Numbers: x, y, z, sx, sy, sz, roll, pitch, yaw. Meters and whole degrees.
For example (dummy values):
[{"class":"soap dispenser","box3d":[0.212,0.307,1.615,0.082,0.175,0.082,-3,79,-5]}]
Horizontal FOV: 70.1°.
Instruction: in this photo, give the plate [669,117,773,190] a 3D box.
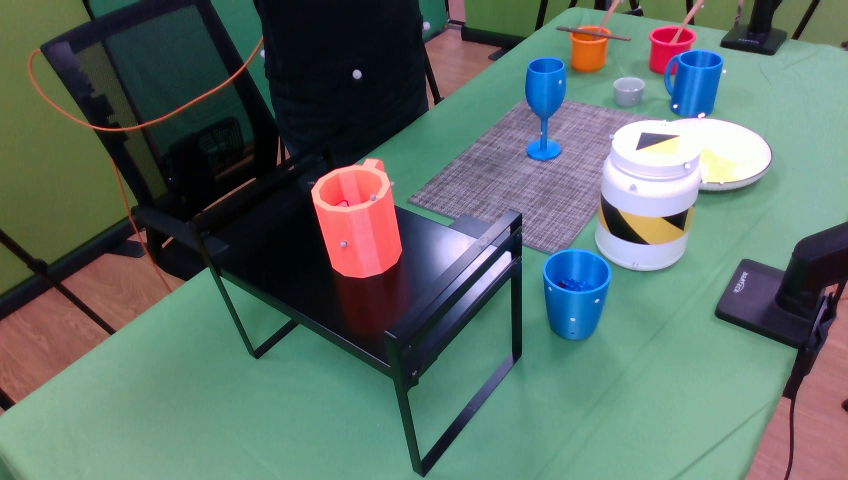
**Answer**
[{"class":"plate","box3d":[0.495,-0.148,1.063,0.209,0.038,0.208,-5,40,4]}]

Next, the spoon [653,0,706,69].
[{"class":"spoon","box3d":[0.570,-0.461,1.334,0.041,0.022,0.193,39,102,41]}]

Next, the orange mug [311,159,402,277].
[{"class":"orange mug","box3d":[-0.070,-0.034,0.694,0.083,0.101,0.126,5,46,16]}]

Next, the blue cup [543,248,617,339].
[{"class":"blue cup","box3d":[0.199,0.076,0.797,0.092,0.100,0.092,-4,39,4]}]

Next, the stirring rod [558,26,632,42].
[{"class":"stirring rod","box3d":[0.381,-0.463,1.356,0.175,0.006,0.014,22,48,30]}]

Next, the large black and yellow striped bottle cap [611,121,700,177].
[{"class":"large black and yellow striped bottle cap","box3d":[0.315,-0.126,0.823,0.115,0.019,0.114,-4,42,4]}]

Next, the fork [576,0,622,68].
[{"class":"fork","box3d":[0.409,-0.484,1.381,0.028,0.019,0.207,37,101,46]}]

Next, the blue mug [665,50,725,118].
[{"class":"blue mug","box3d":[0.526,-0.314,1.198,0.082,0.106,0.115,-27,44,-21]}]

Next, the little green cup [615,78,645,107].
[{"class":"little green cup","box3d":[0.426,-0.306,1.257,0.061,0.039,0.061,-4,40,4]}]

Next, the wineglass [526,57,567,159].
[{"class":"wineglass","box3d":[0.221,-0.237,1.097,0.074,0.173,0.073,-4,41,4]}]

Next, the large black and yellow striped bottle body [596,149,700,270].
[{"class":"large black and yellow striped bottle body","box3d":[0.323,-0.062,0.877,0.131,0.185,0.130,-5,40,4]}]
